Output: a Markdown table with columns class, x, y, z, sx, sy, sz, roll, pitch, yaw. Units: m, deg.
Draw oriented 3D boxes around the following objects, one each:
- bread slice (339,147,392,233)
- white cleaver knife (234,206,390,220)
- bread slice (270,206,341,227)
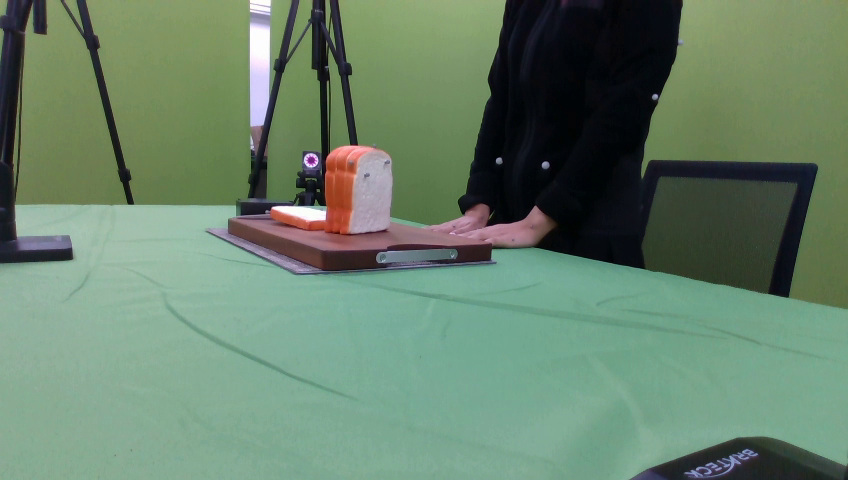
| class | x | y | z | sx | sy | sz | roll | pitch | yaw |
| --- | --- | --- | --- | --- | --- | --- | --- | --- | --- |
| bread slice | -0.085 | -0.075 | 0.917 | 0.019 | 0.131 | 0.105 | 13 | 13 | 32 |
| white cleaver knife | -0.199 | -0.047 | 1.108 | 0.288 | 0.021 | 0.065 | -6 | 5 | -22 |
| bread slice | -0.188 | -0.039 | 1.002 | 0.133 | 0.018 | 0.107 | 14 | 10 | 43 |
